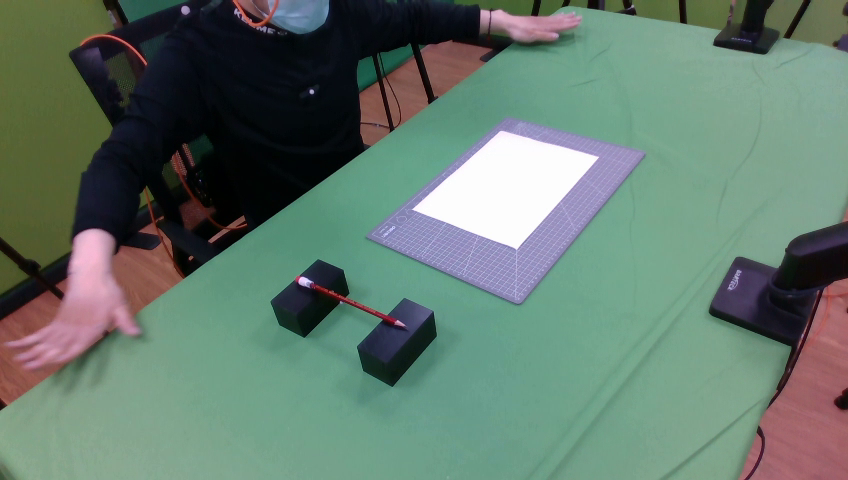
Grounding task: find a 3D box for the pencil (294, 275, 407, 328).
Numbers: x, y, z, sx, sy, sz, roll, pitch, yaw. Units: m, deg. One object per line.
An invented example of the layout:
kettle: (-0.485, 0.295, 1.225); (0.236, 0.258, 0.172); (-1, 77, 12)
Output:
pencil: (-0.103, 0.083, 0.820); (0.192, 0.012, 0.012); (20, 47, 26)
